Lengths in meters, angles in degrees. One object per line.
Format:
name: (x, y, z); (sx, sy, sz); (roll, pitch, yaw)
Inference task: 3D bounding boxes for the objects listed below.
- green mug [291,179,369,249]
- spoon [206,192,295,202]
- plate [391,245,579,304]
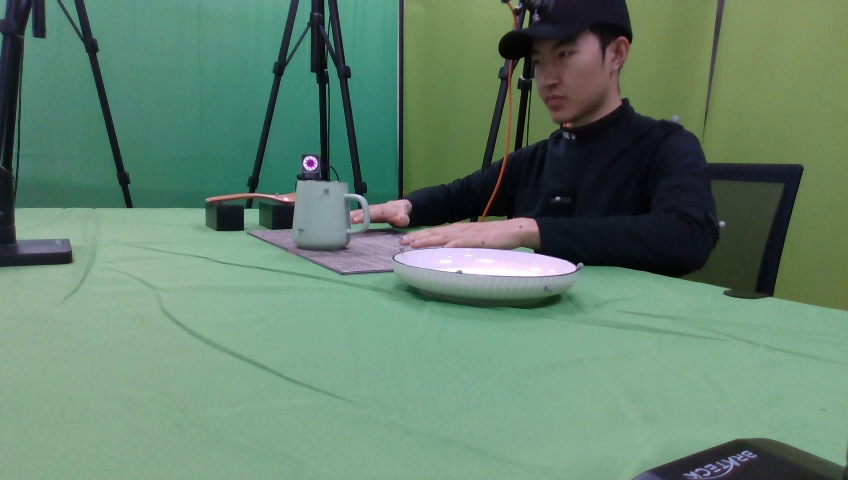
green mug: (-0.144, -0.040, 0.944); (0.125, 0.105, 0.093); (4, 7, 16)
spoon: (-0.335, -0.087, 1.214); (0.195, 0.021, 0.041); (-2, 25, -28)
plate: (0.066, 0.038, 0.683); (0.209, 0.038, 0.209); (2, 7, 0)
